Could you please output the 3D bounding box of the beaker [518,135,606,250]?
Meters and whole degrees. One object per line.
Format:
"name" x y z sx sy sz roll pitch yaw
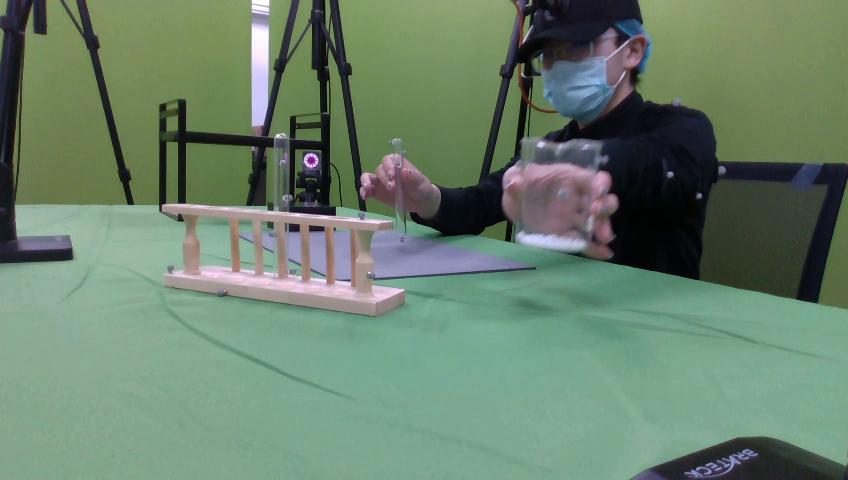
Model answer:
"beaker" 0.123 -0.043 0.550 0.074 0.100 0.084 5 8 14

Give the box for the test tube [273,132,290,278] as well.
"test tube" -0.146 -0.034 0.617 0.017 0.150 0.017 2 8 0

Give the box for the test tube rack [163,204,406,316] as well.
"test tube rack" -0.141 0.013 0.601 0.241 0.085 0.067 5 8 21

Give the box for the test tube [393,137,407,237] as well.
"test tube" -0.036 -0.080 0.909 0.017 0.150 0.017 -3 3 0
